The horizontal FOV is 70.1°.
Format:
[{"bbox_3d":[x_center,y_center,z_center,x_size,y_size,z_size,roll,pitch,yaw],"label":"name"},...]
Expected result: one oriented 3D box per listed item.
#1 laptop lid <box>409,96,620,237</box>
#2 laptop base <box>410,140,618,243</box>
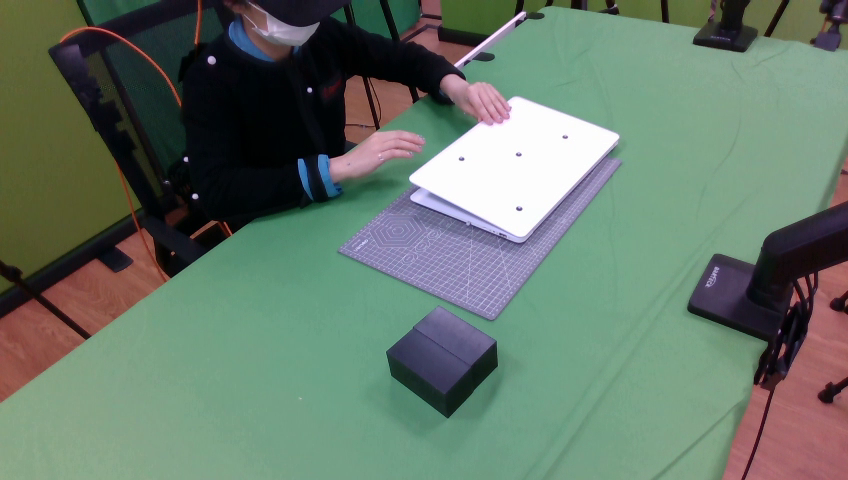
[{"bbox_3d":[0.168,-0.149,1.076,0.240,0.013,0.358,30,51,27],"label":"laptop lid"},{"bbox_3d":[0.170,-0.126,1.096,0.233,0.023,0.355,21,47,33],"label":"laptop base"}]
